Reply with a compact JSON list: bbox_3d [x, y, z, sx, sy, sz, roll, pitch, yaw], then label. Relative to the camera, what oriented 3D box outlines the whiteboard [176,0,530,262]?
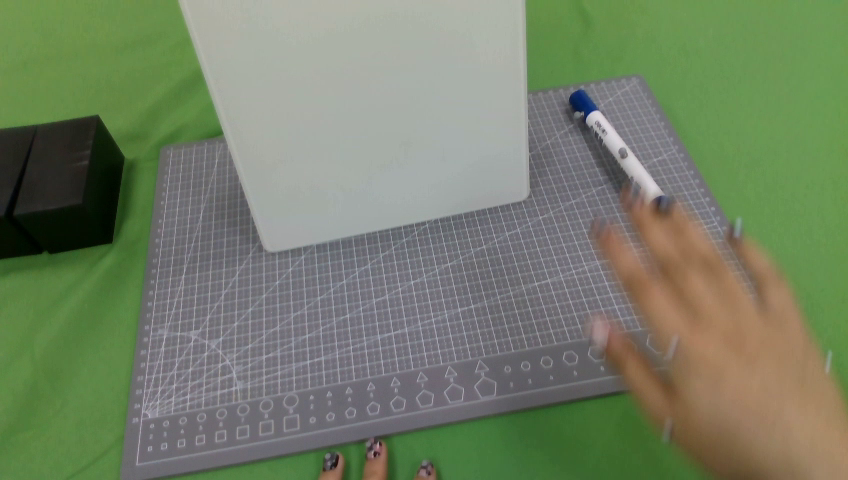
[{"bbox_3d":[-0.049,-0.166,0.450,0.217,0.308,0.142,-11,34,-4],"label":"whiteboard"}]

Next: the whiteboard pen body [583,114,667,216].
[{"bbox_3d":[0.160,-0.073,0.507,0.017,0.017,0.139,-16,52,-9],"label":"whiteboard pen body"}]

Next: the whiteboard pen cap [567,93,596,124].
[{"bbox_3d":[0.142,-0.116,0.543,0.018,0.018,0.033,-15,52,-8],"label":"whiteboard pen cap"}]
